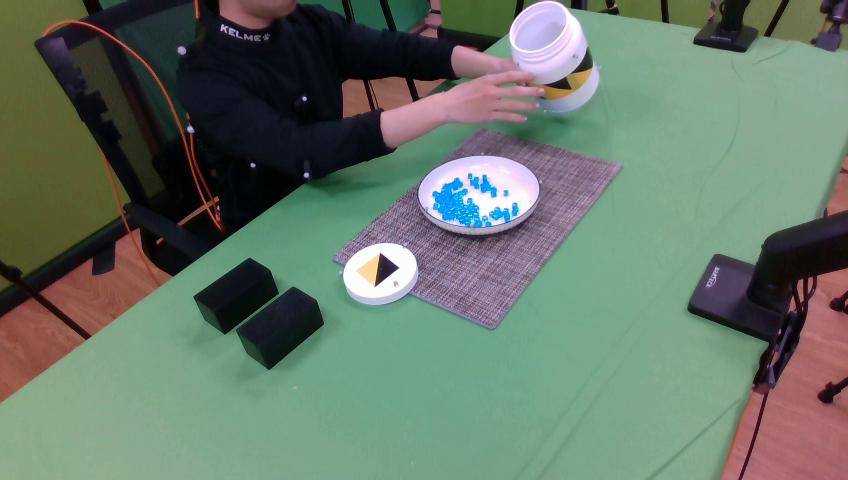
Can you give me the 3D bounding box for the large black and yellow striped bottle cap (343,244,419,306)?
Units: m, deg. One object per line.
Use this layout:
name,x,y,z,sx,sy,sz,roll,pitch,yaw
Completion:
large black and yellow striped bottle cap,-0.066,0.051,0.918,0.115,0.019,0.114,-6,43,6

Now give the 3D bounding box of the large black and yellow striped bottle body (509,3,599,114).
large black and yellow striped bottle body,0.241,-0.336,1.126,0.130,0.185,0.130,-12,63,25

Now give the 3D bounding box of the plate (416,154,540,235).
plate,0.091,-0.074,1.025,0.207,0.039,0.206,-4,41,4
